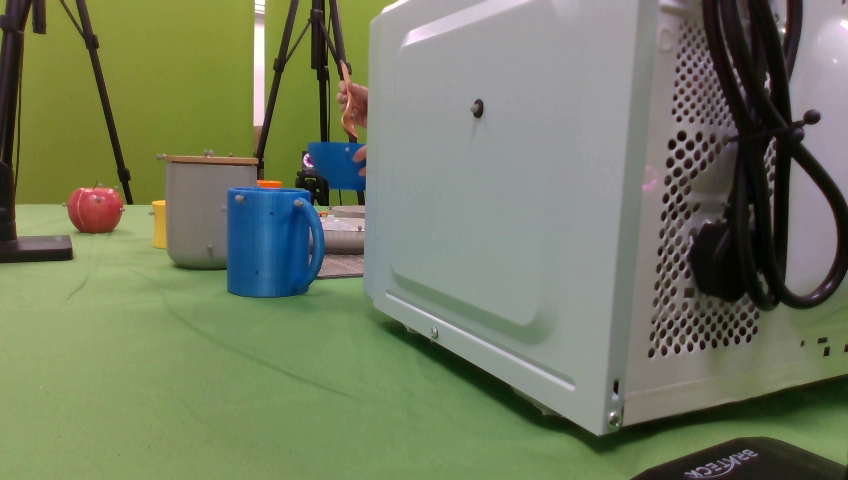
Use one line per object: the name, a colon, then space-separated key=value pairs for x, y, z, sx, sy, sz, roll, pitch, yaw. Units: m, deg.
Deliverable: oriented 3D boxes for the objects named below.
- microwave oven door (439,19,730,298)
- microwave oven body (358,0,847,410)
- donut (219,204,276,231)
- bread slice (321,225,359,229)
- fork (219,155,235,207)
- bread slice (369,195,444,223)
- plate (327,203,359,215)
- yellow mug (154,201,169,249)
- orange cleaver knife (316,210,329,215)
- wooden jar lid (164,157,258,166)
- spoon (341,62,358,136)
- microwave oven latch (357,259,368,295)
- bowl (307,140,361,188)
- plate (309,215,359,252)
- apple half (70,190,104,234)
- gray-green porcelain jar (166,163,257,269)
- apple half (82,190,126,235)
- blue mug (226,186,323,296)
microwave oven door: x=0.181 y=-0.076 z=0.618 sx=0.358 sy=0.243 sz=0.039 roll=-2 pitch=8 yaw=-28
microwave oven body: x=0.210 y=-0.051 z=0.471 sx=0.444 sy=0.260 sz=0.324 roll=-1 pitch=7 yaw=-28
donut: x=-0.316 y=-0.039 z=1.083 sx=0.099 sy=0.048 sz=0.099 roll=3 pitch=7 yaw=0
bread slice: x=-0.124 y=-0.009 z=0.938 sx=0.131 sy=0.019 sz=0.105 roll=6 pitch=8 yaw=32
fork: x=-0.459 y=-0.134 z=1.415 sx=0.028 sy=0.018 sz=0.207 roll=-2 pitch=-34 yaw=-25
bread slice: x=-0.040 y=-0.057 z=1.142 sx=0.107 sy=0.018 sz=0.133 roll=-9 pitch=-8 yaw=-39
plate: x=-0.102 y=-0.053 z=1.299 sx=0.209 sy=0.038 sz=0.209 roll=2 pitch=8 yaw=0
yellow mug: x=-0.337 y=-0.022 z=0.899 sx=0.130 sy=0.064 sz=0.100 roll=8 pitch=9 yaw=34
orange cleaver knife: x=-0.259 y=-0.064 z=1.423 sx=0.212 sy=0.012 sz=0.077 roll=-4 pitch=3 yaw=-30
wooden jar lid: x=-0.261 y=-0.093 z=0.746 sx=0.108 sy=0.020 sz=0.108 roll=0 pitch=9 yaw=0
spoon: x=-0.143 y=-0.267 z=1.135 sx=0.021 sy=0.193 sz=0.042 roll=-24 pitch=-36 yaw=26
microwave oven latch: x=-0.019 y=0.031 z=0.529 sx=0.079 sy=0.029 sz=0.030 roll=-1 pitch=7 yaw=-26
bowl: x=-0.128 y=-0.129 z=1.050 sx=0.151 sy=0.077 sz=0.151 roll=2 pitch=5 yaw=0
plate: x=-0.130 y=-0.011 z=0.945 sx=0.208 sy=0.039 sz=0.207 roll=2 pitch=8 yaw=0
apple half: x=-0.552 y=-0.047 z=1.010 sx=0.053 sy=0.074 sz=0.081 roll=0 pitch=9 yaw=26
gray-green porcelain jar: x=-0.263 y=-0.031 z=0.754 sx=0.106 sy=0.126 sz=0.106 roll=2 pitch=7 yaw=0
apple half: x=-0.516 y=-0.046 z=0.994 sx=0.032 sy=0.081 sz=0.081 roll=0 pitch=6 yaw=26
blue mug: x=-0.148 y=0.000 z=0.618 sx=0.116 sy=0.106 sz=0.083 roll=7 pitch=9 yaw=33
